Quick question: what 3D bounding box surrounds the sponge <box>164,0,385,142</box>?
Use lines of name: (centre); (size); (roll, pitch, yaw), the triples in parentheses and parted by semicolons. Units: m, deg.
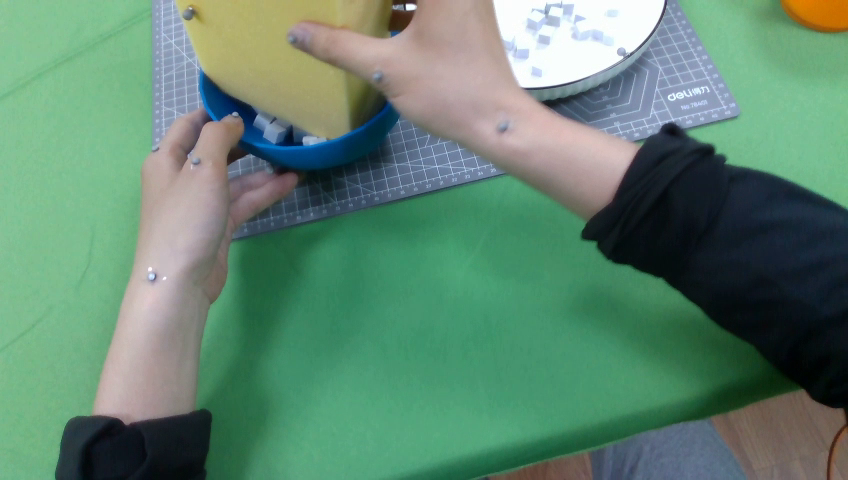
sponge: (-0.088, -0.146, 0.346); (0.118, 0.208, 0.060); (26, 69, 7)

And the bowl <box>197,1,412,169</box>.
bowl: (-0.079, -0.106, 0.450); (0.151, 0.077, 0.150); (-3, 63, 5)

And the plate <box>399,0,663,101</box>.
plate: (0.084, -0.194, 0.497); (0.209, 0.038, 0.207); (-3, 64, 6)

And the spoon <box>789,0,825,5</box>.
spoon: (0.354, -0.243, 0.430); (0.022, 0.194, 0.041); (3, 58, -42)
